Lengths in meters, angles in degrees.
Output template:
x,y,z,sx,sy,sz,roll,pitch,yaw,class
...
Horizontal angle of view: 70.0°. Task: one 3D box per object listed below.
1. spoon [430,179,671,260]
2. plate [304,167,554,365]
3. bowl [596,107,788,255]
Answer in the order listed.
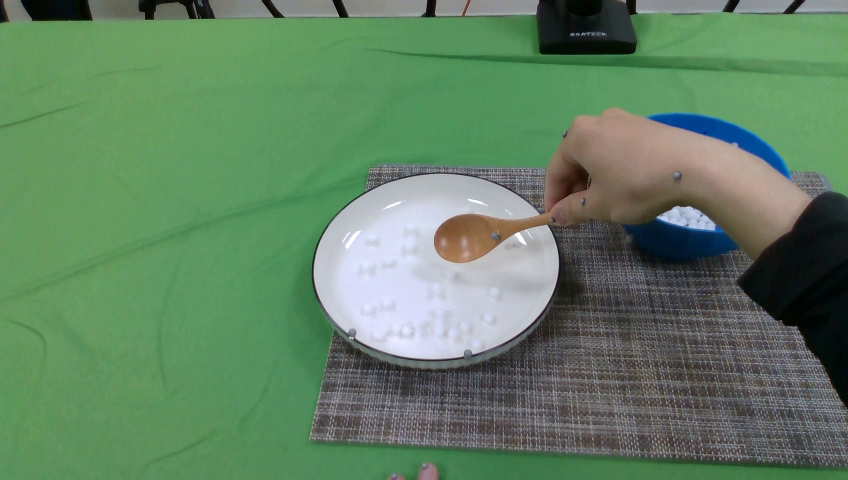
x,y,z,sx,sy,sz,roll,pitch,yaw,class
0.089,-0.018,0.465,0.193,0.022,0.041,-13,78,34,spoon
0.004,0.020,0.518,0.207,0.039,0.205,-2,48,2,plate
0.221,-0.040,0.529,0.151,0.077,0.150,-1,48,2,bowl
